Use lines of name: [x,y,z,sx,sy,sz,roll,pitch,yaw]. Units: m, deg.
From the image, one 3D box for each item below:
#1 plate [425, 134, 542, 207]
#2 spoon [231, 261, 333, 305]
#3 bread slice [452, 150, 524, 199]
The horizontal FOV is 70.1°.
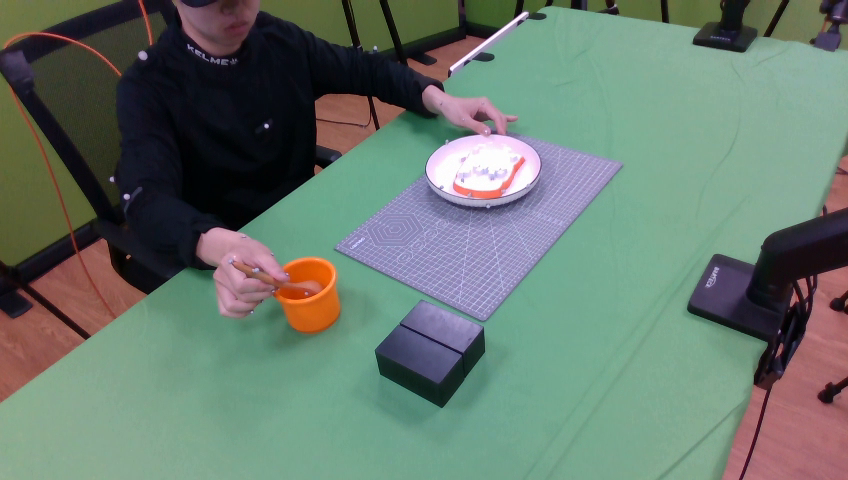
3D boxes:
plate: [0.106,-0.121,1.079,0.209,0.038,0.208,-4,40,4]
spoon: [-0.183,0.059,0.806,0.041,0.195,0.021,41,99,33]
bread slice: [0.111,-0.118,1.079,0.104,0.019,0.131,11,42,21]
